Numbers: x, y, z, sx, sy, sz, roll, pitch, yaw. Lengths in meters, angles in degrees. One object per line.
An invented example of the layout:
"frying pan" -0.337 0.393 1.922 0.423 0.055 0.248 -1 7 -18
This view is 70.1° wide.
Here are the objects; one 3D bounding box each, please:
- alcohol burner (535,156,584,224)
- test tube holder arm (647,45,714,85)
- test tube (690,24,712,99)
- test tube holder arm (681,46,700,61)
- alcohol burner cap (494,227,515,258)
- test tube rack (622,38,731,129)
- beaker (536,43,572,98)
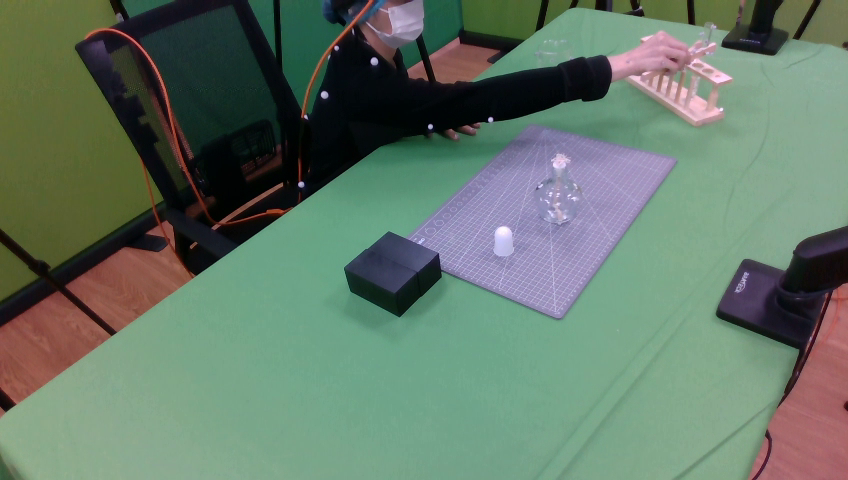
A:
"alcohol burner" 0.217 -0.085 0.967 0.078 0.119 0.077 -3 41 3
"test tube holder arm" 0.477 -0.326 1.120 0.179 0.015 0.013 -30 30 -23
"test tube" 0.534 -0.343 1.174 0.017 0.151 0.017 -3 39 3
"test tube holder arm" 0.505 -0.348 1.146 0.010 0.015 0.088 8 37 38
"alcohol burner cap" 0.124 0.001 0.936 0.034 0.048 0.033 -4 40 4
"test tube rack" 0.506 -0.325 1.234 0.067 0.085 0.240 -18 41 -11
"beaker" 0.281 -0.368 1.311 0.074 0.101 0.084 4 41 14
